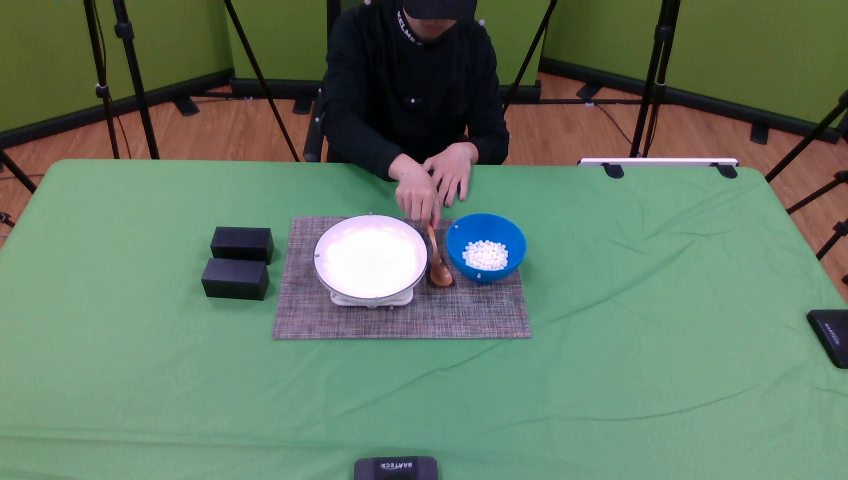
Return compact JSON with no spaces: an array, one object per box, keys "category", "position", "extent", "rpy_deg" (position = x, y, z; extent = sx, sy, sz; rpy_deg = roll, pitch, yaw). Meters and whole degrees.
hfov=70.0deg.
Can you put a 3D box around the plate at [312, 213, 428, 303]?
[{"category":"plate","position":[-0.097,0.036,1.100],"extent":[0.209,0.038,0.208],"rpy_deg":[2,46,-2]}]

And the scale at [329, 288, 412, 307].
[{"category":"scale","position":[-0.098,0.042,1.139],"extent":[0.149,0.032,0.199],"rpy_deg":[1,46,-4]}]

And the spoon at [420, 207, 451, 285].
[{"category":"spoon","position":[0.018,0.008,1.171],"extent":[0.042,0.022,0.192],"rpy_deg":[1,55,-19]}]

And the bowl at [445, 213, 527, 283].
[{"category":"bowl","position":[0.112,0.027,1.136],"extent":[0.151,0.077,0.150],"rpy_deg":[2,46,-2]}]
